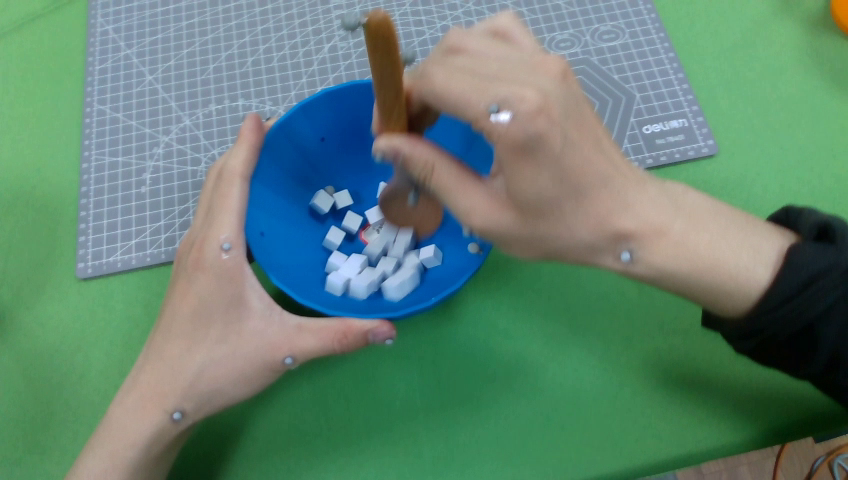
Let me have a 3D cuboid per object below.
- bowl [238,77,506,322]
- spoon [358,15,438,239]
[{"bbox_3d":[-0.028,-0.015,0.375,0.151,0.077,0.150,0,70,1],"label":"bowl"},{"bbox_3d":[-0.014,-0.040,0.300,0.041,0.195,0.021,5,72,3],"label":"spoon"}]
